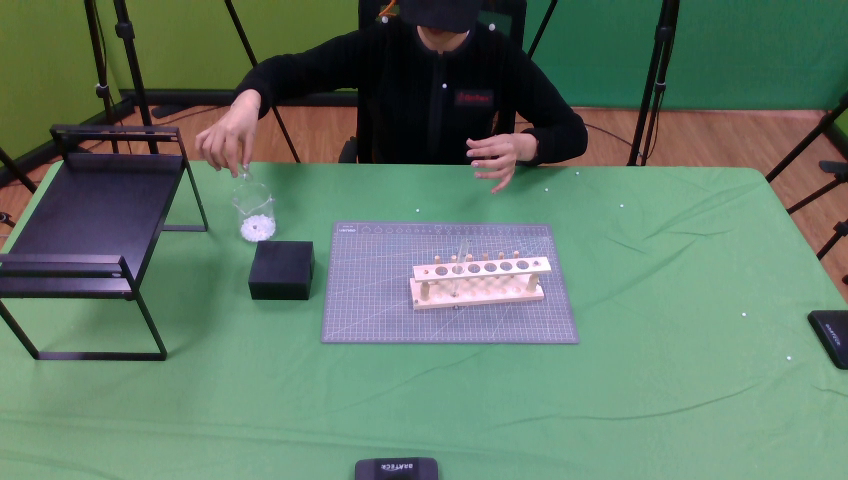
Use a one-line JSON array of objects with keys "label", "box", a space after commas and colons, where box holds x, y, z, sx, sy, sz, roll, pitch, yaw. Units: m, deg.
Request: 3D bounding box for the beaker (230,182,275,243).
[{"label": "beaker", "box": [-0.327, -0.049, 1.166, 0.074, 0.101, 0.083, 2, 47, -2]}]

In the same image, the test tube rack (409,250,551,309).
[{"label": "test tube rack", "box": [0.098, 0.065, 1.096, 0.243, 0.085, 0.066, -4, 47, -8]}]

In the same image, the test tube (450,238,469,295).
[{"label": "test tube", "box": [0.060, 0.048, 1.040, 0.017, 0.151, 0.017, 3, 51, -4]}]

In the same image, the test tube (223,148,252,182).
[{"label": "test tube", "box": [-0.362, -0.147, 1.172, 0.017, 0.017, 0.149, -22, 38, -23]}]
